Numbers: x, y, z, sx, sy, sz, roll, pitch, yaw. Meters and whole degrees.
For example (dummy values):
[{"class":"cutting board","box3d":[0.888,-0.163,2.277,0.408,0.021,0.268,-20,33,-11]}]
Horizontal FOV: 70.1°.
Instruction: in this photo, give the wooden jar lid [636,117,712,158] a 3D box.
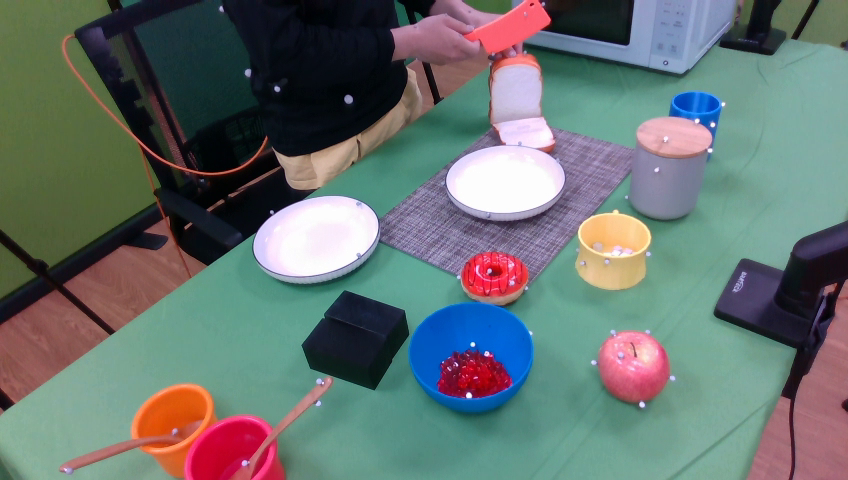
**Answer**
[{"class":"wooden jar lid","box3d":[0.377,-0.151,0.917,0.108,0.021,0.108,-2,41,3]}]

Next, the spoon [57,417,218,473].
[{"class":"spoon","box3d":[-0.304,0.221,0.661,0.041,0.195,0.021,19,92,27]}]

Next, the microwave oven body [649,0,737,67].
[{"class":"microwave oven body","box3d":[0.475,-0.602,1.411,0.438,0.261,0.327,23,50,32]}]

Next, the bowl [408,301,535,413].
[{"class":"bowl","box3d":[0.060,0.156,0.739,0.151,0.077,0.150,-4,40,4]}]

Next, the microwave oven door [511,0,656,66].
[{"class":"microwave oven door","box3d":[0.351,-0.540,1.349,0.353,0.245,0.039,24,50,31]}]

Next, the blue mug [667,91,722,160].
[{"class":"blue mug","box3d":[0.474,-0.207,1.079,0.082,0.106,0.116,4,42,13]}]

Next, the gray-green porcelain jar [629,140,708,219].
[{"class":"gray-green porcelain jar","box3d":[0.383,-0.105,0.958,0.106,0.127,0.105,-4,41,4]}]

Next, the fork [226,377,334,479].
[{"class":"fork","box3d":[-0.163,0.216,0.647,0.207,0.019,0.028,-49,41,16]}]

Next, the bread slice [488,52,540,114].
[{"class":"bread slice","box3d":[0.185,-0.317,1.230,0.107,0.135,0.018,-4,45,2]}]

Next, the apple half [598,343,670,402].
[{"class":"apple half","box3d":[0.247,0.161,0.710,0.081,0.075,0.053,2,47,5]}]

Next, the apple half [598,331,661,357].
[{"class":"apple half","box3d":[0.249,0.134,0.738,0.081,0.081,0.032,-1,46,7]}]

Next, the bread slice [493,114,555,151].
[{"class":"bread slice","box3d":[0.195,-0.204,1.169,0.105,0.019,0.131,-6,37,-1]}]

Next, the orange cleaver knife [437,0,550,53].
[{"class":"orange cleaver knife","box3d":[0.130,-0.386,1.129,0.211,0.078,0.012,-20,48,13]}]

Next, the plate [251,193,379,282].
[{"class":"plate","box3d":[-0.174,-0.001,0.984,0.209,0.038,0.208,-4,40,4]}]

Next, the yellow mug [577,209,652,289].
[{"class":"yellow mug","box3d":[0.279,0.004,0.893,0.099,0.064,0.130,5,41,15]}]

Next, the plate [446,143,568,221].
[{"class":"plate","box3d":[0.142,-0.097,1.045,0.207,0.039,0.206,-4,40,4]}]

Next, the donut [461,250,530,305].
[{"class":"donut","box3d":[0.103,0.053,0.872,0.099,0.048,0.098,-5,40,4]}]

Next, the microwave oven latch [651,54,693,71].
[{"class":"microwave oven latch","box3d":[0.532,-0.386,1.301,0.078,0.029,0.030,26,52,34]}]
